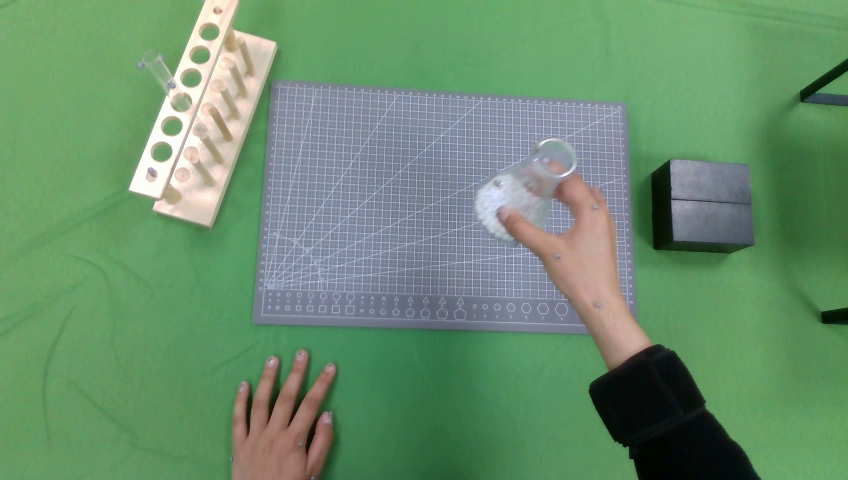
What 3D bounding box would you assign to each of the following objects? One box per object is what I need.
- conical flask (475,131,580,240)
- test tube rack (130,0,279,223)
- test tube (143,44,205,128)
[{"bbox_3d":[0.096,-0.052,0.537,0.075,0.122,0.075,4,71,-11],"label":"conical flask"},{"bbox_3d":[-0.240,-0.151,0.686,0.067,0.085,0.241,17,77,-2],"label":"test tube rack"},{"bbox_3d":[-0.257,-0.156,0.635,0.017,0.151,0.017,1,74,-3],"label":"test tube"}]
